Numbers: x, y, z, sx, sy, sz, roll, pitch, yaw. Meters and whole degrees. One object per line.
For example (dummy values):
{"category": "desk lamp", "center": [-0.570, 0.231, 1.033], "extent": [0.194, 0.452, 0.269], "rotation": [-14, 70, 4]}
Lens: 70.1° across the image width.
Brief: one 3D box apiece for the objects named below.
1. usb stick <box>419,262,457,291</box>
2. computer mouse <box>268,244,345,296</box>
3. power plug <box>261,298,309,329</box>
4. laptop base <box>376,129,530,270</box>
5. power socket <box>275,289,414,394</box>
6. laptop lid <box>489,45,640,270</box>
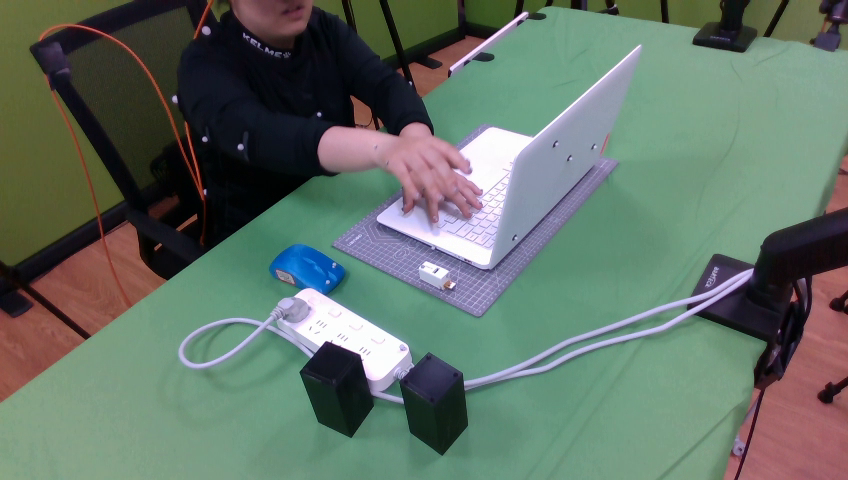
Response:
{"category": "usb stick", "center": [0.022, 0.056, 0.891], "extent": [0.058, 0.027, 0.021], "rotation": [25, 49, 32]}
{"category": "computer mouse", "center": [-0.182, 0.044, 0.932], "extent": [0.116, 0.041, 0.063], "rotation": [23, 46, 24]}
{"category": "power plug", "center": [-0.192, 0.107, 0.831], "extent": [0.073, 0.053, 0.035], "rotation": [-33, 44, -26]}
{"category": "laptop base", "center": [0.115, -0.086, 1.057], "extent": [0.233, 0.023, 0.355], "rotation": [21, 48, 34]}
{"category": "power socket", "center": [-0.115, 0.133, 0.820], "extent": [0.225, 0.033, 0.072], "rotation": [25, 49, 32]}
{"category": "laptop lid", "center": [0.214, -0.125, 0.907], "extent": [0.013, 0.242, 0.358], "rotation": [33, 52, 22]}
